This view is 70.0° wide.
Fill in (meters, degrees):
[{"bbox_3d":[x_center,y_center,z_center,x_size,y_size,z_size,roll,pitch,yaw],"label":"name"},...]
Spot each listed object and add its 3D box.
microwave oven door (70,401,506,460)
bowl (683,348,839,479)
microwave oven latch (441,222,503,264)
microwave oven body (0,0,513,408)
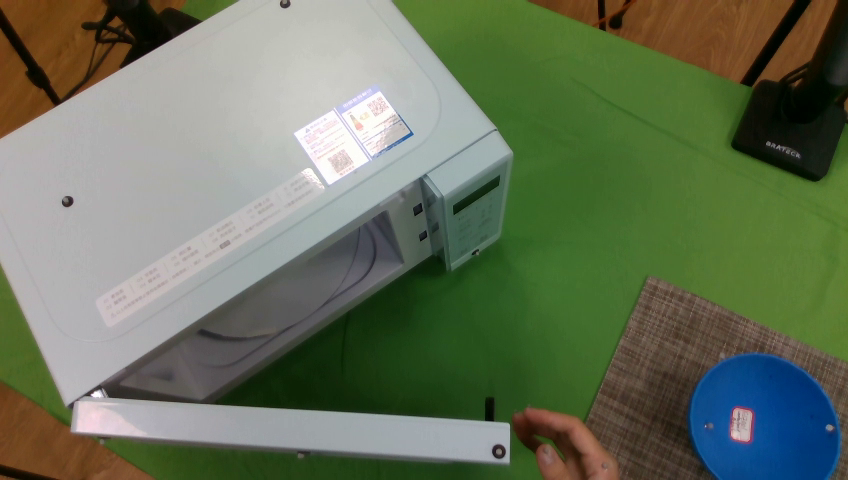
[{"bbox_3d":[-0.103,0.184,0.586,0.355,0.245,0.039,2,71,4],"label":"microwave oven door"},{"bbox_3d":[0.348,0.197,0.654,0.151,0.077,0.150,-1,71,3],"label":"bowl"},{"bbox_3d":[0.059,-0.004,0.745,0.079,0.030,0.030,-32,73,-6],"label":"microwave oven latch"},{"bbox_3d":[-0.178,-0.051,0.673,0.442,0.262,0.324,-34,73,-7],"label":"microwave oven body"}]
